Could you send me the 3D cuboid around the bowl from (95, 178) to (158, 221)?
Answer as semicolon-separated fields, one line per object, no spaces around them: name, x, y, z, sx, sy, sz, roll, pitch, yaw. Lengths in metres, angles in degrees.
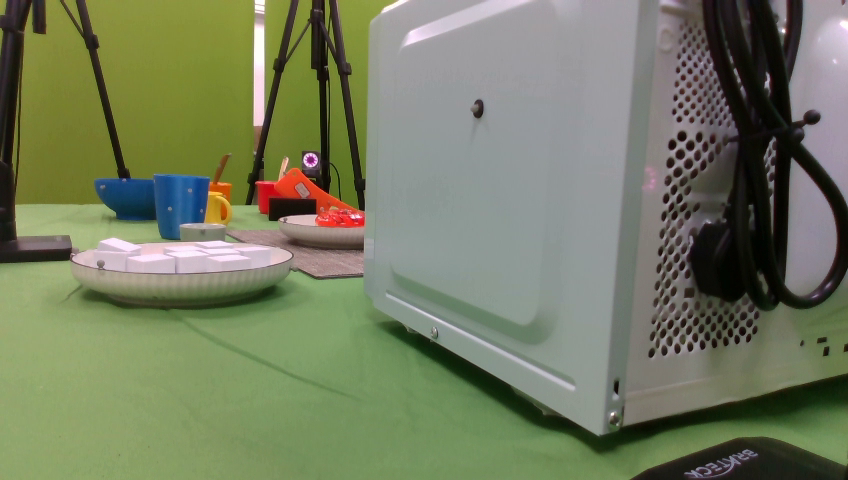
bowl;-0.576;-0.081;1.217;0.151;0.077;0.151;3;8;0

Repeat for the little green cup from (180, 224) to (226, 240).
little green cup;-0.308;-0.001;0.846;0.061;0.038;0.061;2;8;0

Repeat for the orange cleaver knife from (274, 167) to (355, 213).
orange cleaver knife;-0.238;-0.090;1.381;0.212;0.077;0.012;31;0;-19

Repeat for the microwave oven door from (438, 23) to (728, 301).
microwave oven door;0.181;-0.072;0.620;0.358;0.243;0.039;-2;8;-29

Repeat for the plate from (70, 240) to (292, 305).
plate;-0.242;0.031;0.618;0.208;0.039;0.207;2;8;0

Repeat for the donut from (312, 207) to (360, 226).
donut;-0.134;-0.028;0.996;0.099;0.048;0.099;3;10;0

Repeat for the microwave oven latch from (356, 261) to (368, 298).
microwave oven latch;-0.019;0.033;0.529;0.079;0.029;0.030;0;7;-25

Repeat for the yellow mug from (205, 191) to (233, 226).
yellow mug;-0.415;-0.057;1.131;0.130;0.064;0.100;6;8;17

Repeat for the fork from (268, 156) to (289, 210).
fork;-0.360;-0.144;1.507;0.028;0.018;0.207;1;49;0

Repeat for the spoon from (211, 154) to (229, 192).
spoon;-0.431;-0.115;1.252;0.042;0.193;0.021;-4;54;-34

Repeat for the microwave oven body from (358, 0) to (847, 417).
microwave oven body;0.211;-0.046;0.474;0.444;0.260;0.324;-1;7;-28

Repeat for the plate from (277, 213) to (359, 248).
plate;-0.134;-0.017;0.992;0.209;0.038;0.209;2;8;0

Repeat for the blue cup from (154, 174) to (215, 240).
blue cup;-0.391;-0.053;0.978;0.093;0.100;0.092;4;6;0
